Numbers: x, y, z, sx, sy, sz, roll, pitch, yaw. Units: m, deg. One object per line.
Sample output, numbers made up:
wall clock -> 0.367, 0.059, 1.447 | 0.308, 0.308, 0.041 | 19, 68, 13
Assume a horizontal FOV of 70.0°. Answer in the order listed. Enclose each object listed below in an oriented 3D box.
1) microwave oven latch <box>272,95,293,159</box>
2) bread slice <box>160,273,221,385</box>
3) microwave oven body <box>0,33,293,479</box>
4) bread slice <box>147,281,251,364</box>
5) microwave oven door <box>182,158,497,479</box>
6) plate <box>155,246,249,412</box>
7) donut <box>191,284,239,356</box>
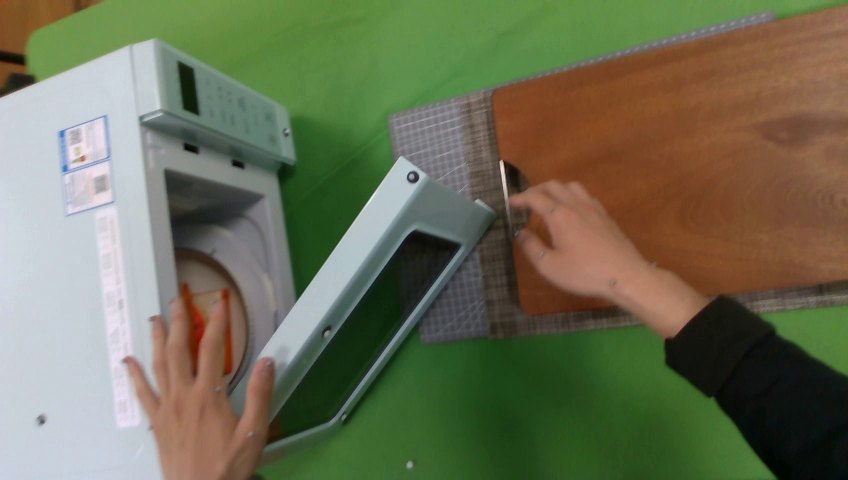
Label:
microwave oven latch -> -0.195, -0.148, 0.800 | 0.030, 0.029, 0.079 | -13, 82, 18
bread slice -> -0.295, 0.116, 0.701 | 0.134, 0.018, 0.106 | -35, 78, 28
microwave oven body -> -0.337, 0.047, 0.734 | 0.325, 0.261, 0.440 | -13, 82, 18
bread slice -> -0.296, 0.113, 0.790 | 0.131, 0.019, 0.105 | -8, 93, 6
microwave oven door -> -0.071, 0.086, 0.628 | 0.039, 0.245, 0.356 | 39, 99, 20
plate -> -0.311, 0.112, 0.772 | 0.207, 0.039, 0.207 | -1, 85, 16
donut -> -0.277, 0.102, 0.747 | 0.099, 0.048, 0.099 | 1, 104, 5
